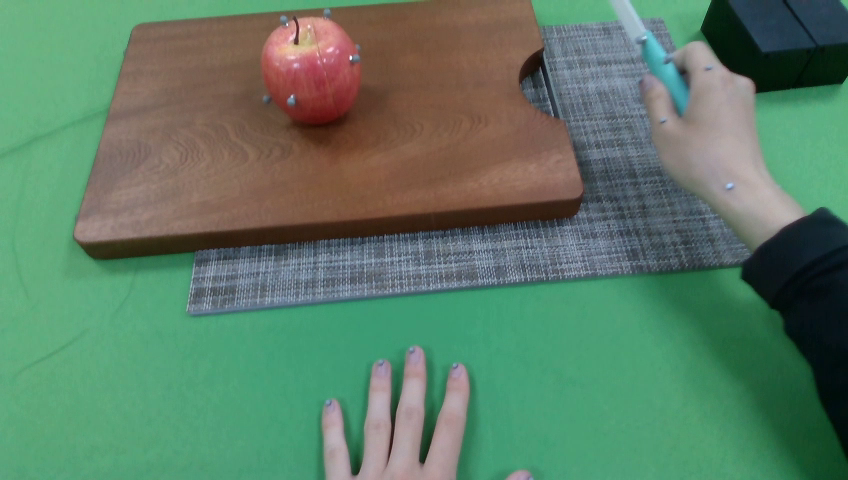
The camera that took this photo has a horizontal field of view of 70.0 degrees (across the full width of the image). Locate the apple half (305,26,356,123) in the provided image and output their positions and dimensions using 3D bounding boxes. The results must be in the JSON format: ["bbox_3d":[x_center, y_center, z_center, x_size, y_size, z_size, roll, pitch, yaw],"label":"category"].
[{"bbox_3d":[-0.073,-0.141,0.512,0.033,0.082,0.080,-17,57,-4],"label":"apple half"}]

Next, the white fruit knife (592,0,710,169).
[{"bbox_3d":[0.166,-0.148,0.478,0.016,0.027,0.206,-29,83,-9],"label":"white fruit knife"}]

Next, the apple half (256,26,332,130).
[{"bbox_3d":[-0.111,-0.131,0.507,0.053,0.075,0.080,-16,60,-4],"label":"apple half"}]
